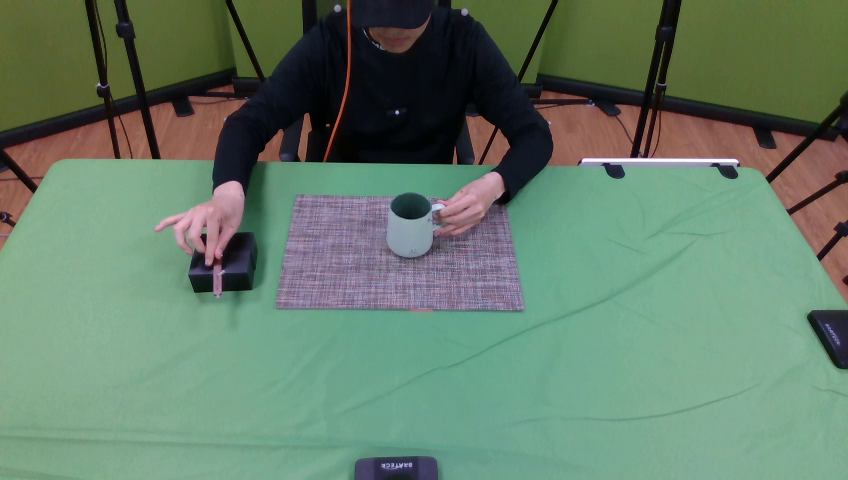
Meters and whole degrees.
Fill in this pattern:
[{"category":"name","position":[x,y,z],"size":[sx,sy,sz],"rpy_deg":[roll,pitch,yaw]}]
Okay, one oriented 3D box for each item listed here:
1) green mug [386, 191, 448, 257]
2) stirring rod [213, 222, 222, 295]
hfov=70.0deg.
[{"category":"green mug","position":[-0.012,-0.034,1.165],"size":[0.125,0.105,0.092],"rpy_deg":[-17,49,-19]},{"category":"stirring rod","position":[-0.369,0.030,1.082],"size":[0.014,0.006,0.175],"rpy_deg":[-8,48,-11]}]
